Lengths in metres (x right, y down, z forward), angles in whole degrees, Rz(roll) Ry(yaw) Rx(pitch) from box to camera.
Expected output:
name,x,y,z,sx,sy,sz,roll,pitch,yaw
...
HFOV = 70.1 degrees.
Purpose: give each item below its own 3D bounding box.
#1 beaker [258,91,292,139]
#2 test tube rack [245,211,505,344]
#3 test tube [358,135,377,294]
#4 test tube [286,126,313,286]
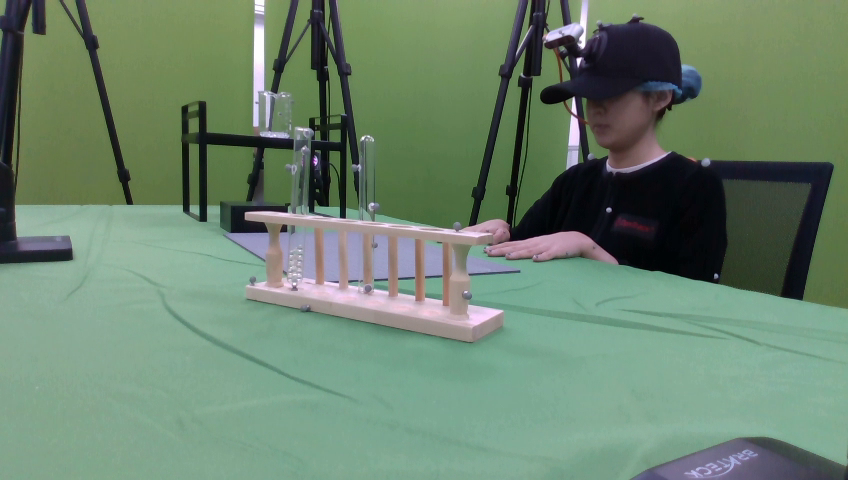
name,x,y,z,sx,sy,sz,roll,pitch,yaw
beaker,-0.331,-0.276,1.343,0.074,0.100,0.083,0,8,-20
test tube rack,-0.049,0.025,0.547,0.241,0.085,0.067,7,8,28
test tube,-0.053,-0.022,0.565,0.017,0.150,0.017,2,6,0
test tube,-0.116,-0.030,0.559,0.017,0.150,0.017,6,11,-1
